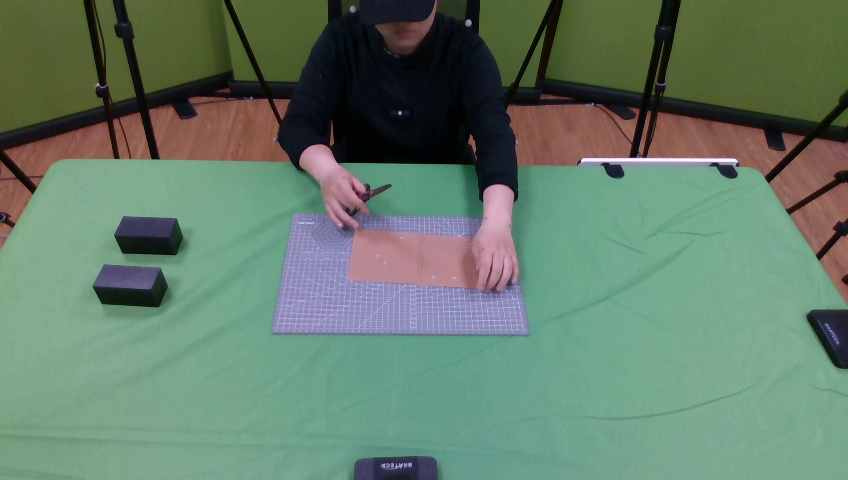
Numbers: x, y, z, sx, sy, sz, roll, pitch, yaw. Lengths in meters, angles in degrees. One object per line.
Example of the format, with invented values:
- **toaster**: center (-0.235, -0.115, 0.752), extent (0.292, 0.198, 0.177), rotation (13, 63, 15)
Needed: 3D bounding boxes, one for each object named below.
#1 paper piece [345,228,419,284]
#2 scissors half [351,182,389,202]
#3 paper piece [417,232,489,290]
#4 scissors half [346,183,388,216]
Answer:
- **paper piece**: center (-0.078, 0.030, 1.168), extent (0.135, 0.004, 0.135), rotation (4, 46, 0)
- **scissors half**: center (-0.102, -0.095, 1.166), extent (0.013, 0.175, 0.040), rotation (31, 74, -21)
- **paper piece**: center (0.056, 0.040, 1.170), extent (0.138, 0.009, 0.135), rotation (5, 49, -1)
- **scissors half**: center (-0.110, -0.079, 1.158), extent (0.013, 0.175, 0.040), rotation (36, 58, -18)
